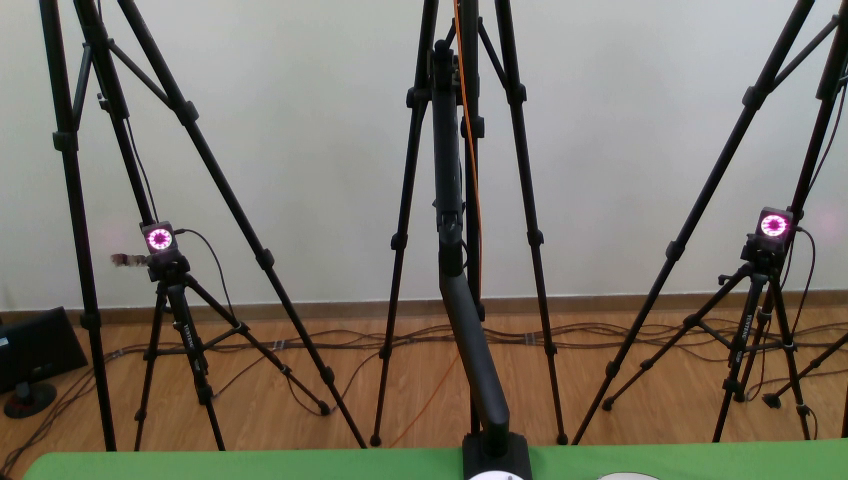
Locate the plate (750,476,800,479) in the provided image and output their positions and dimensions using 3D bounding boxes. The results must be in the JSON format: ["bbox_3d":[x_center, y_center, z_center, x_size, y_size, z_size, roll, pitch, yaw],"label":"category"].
[{"bbox_3d":[0.577,0.460,0.928,0.207,0.039,0.206,-2,32,2],"label":"plate"}]

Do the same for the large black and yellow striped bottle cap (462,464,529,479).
[{"bbox_3d":[0.100,0.360,0.829,0.115,0.019,0.114,-2,33,1],"label":"large black and yellow striped bottle cap"}]

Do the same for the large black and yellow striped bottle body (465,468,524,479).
[{"bbox_3d":[0.103,0.431,0.874,0.131,0.185,0.129,-2,32,2],"label":"large black and yellow striped bottle body"}]

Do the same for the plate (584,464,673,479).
[{"bbox_3d":[0.338,0.453,0.959,0.209,0.038,0.207,-2,32,2],"label":"plate"}]
